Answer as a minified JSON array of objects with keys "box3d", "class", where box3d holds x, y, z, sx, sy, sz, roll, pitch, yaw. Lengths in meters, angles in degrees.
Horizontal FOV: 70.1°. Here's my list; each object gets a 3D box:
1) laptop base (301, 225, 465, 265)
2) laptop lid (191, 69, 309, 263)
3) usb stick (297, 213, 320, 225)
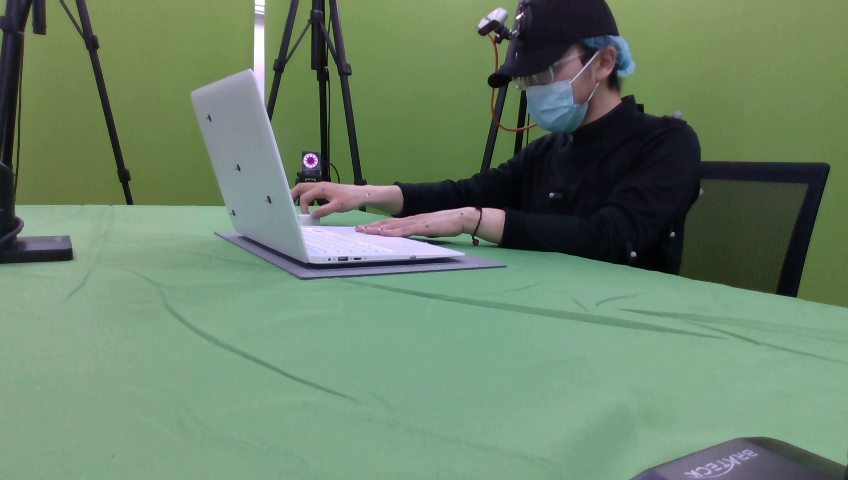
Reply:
[{"box3d":[-0.128,0.005,0.937,0.237,0.023,0.352,2,6,-32],"class":"laptop base"},{"box3d":[-0.254,-0.103,0.842,0.013,0.242,0.355,-22,20,-27],"class":"laptop lid"},{"box3d":[-0.242,-0.040,1.221,0.059,0.027,0.021,-6,11,-27],"class":"usb stick"}]
